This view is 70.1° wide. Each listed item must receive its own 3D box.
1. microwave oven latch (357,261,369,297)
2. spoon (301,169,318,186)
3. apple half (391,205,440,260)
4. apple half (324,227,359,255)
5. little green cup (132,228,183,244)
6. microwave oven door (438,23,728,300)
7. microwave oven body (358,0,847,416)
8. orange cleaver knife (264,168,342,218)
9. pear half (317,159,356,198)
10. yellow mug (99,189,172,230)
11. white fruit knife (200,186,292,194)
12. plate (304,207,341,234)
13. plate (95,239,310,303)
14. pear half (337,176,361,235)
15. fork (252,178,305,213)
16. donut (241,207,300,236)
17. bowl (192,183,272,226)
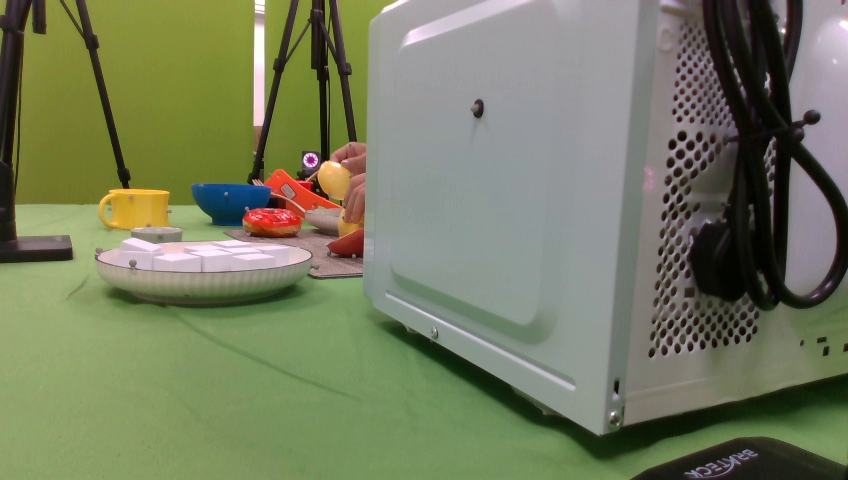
[{"bbox_3d":[-0.019,0.033,0.531,0.079,0.029,0.030,-1,7,-27],"label":"microwave oven latch"},{"bbox_3d":[-0.316,-0.158,1.639,0.194,0.022,0.041,-49,33,-20],"label":"spoon"},{"bbox_3d":[-0.006,-0.009,0.837,0.053,0.074,0.081,10,6,23],"label":"apple half"},{"bbox_3d":[-0.095,0.002,0.848,0.081,0.033,0.081,-21,-1,0],"label":"apple half"},{"bbox_3d":[-0.342,0.006,0.779,0.061,0.038,0.061,2,8,0],"label":"little green cup"},{"bbox_3d":[0.181,-0.072,0.621,0.358,0.243,0.039,-2,8,-29],"label":"microwave oven door"},{"bbox_3d":[0.211,-0.047,0.474,0.444,0.260,0.324,-1,7,-28],"label":"microwave oven body"},{"bbox_3d":[-0.262,-0.088,1.353,0.211,0.077,0.012,28,13,-1],"label":"orange cleaver knife"},{"bbox_3d":[-0.153,-0.112,1.109,0.088,0.070,0.031,36,-25,-25],"label":"pear half"},{"bbox_3d":[-0.518,-0.055,1.080,0.099,0.064,0.131,6,9,26],"label":"yellow mug"},{"bbox_3d":[-0.399,-0.111,1.368,0.208,0.016,0.027,-4,-19,-30],"label":"white fruit knife"},{"bbox_3d":[-0.123,-0.037,1.149,0.209,0.038,0.209,2,7,0],"label":"plate"},{"bbox_3d":[-0.224,0.031,0.629,0.208,0.039,0.207,2,7,0],"label":"plate"},{"bbox_3d":[-0.089,-0.042,0.916,0.055,0.110,0.076,9,14,30],"label":"pear half"},{"bbox_3d":[-0.295,-0.084,1.292,0.206,0.018,0.028,29,11,25],"label":"fork"},{"bbox_3d":[-0.263,-0.031,1.039,0.099,0.048,0.099,5,10,0],"label":"donut"},{"bbox_3d":[-0.381,-0.071,1.202,0.151,0.077,0.151,3,7,0],"label":"bowl"}]
